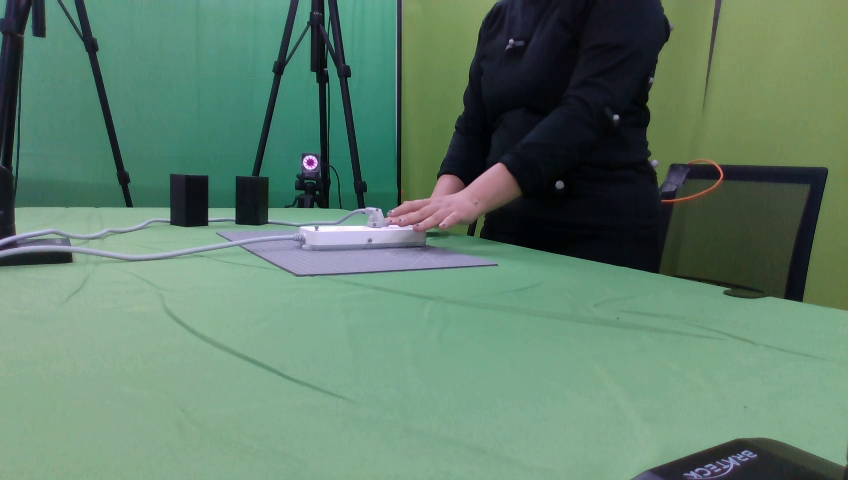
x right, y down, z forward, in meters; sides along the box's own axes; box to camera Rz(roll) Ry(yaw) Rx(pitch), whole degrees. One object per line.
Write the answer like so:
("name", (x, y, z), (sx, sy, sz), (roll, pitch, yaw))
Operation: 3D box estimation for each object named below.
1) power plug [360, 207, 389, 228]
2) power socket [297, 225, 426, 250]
("power plug", (-0.085, -0.029, 1.031), (0.035, 0.052, 0.072), (1, 5, -20))
("power socket", (-0.099, -0.006, 0.992), (0.228, 0.032, 0.072), (-2, 8, -31))
